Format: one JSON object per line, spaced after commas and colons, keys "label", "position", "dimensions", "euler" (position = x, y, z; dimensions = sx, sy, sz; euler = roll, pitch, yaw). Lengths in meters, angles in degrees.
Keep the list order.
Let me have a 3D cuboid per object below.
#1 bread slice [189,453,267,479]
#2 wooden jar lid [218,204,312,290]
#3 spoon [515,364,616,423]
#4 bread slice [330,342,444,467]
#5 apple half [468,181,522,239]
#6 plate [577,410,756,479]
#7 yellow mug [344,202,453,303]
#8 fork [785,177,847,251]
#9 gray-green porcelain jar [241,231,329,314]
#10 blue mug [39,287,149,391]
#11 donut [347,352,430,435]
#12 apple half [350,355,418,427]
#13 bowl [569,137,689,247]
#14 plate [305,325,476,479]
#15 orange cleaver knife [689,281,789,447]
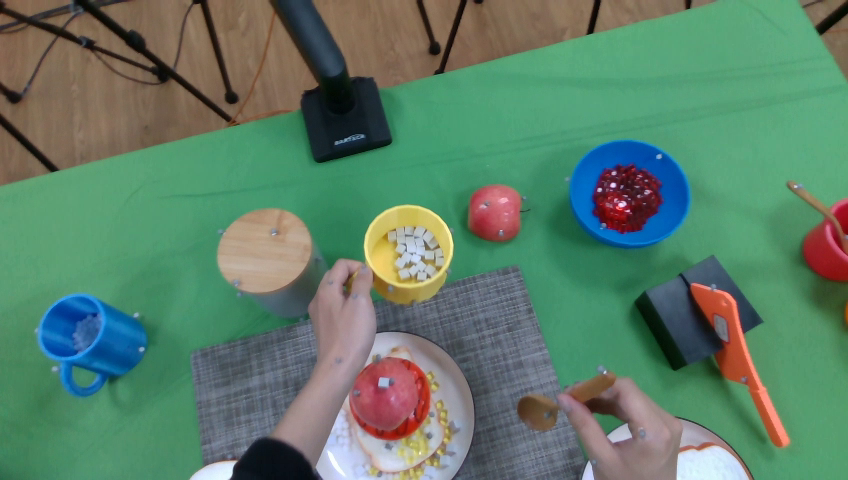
{"label": "bread slice", "position": [-0.236, 0.323, 0.719], "dimensions": [0.105, 0.019, 0.130], "euler": [-7, 71, -1]}
{"label": "wooden jar lid", "position": [-0.184, 0.009, 0.711], "dimensions": [0.108, 0.021, 0.107], "euler": [0, 67, 1]}
{"label": "spoon", "position": [0.123, 0.139, 0.539], "dimensions": [0.021, 0.194, 0.041], "euler": [-41, 80, -21]}
{"label": "bread slice", "position": [-0.037, 0.206, 0.743], "dimensions": [0.107, 0.018, 0.133], "euler": [-31, 71, -8]}
{"label": "apple half", "position": [0.097, -0.047, 0.827], "dimensions": [0.074, 0.054, 0.080], "euler": [6, 70, 8]}
{"label": "plate", "position": [0.276, 0.304, 0.694], "dimensions": [0.209, 0.038, 0.207], "euler": [-1, 69, 3]}
{"label": "yellow mug", "position": [-0.033, 0.023, 0.689], "dimensions": [0.131, 0.064, 0.099], "euler": [-29, 74, -14]}
{"label": "fork", "position": [0.501, -0.026, 0.748], "dimensions": [0.209, 0.018, 0.028], "euler": [29, 66, -30]}
{"label": "gray-green porcelain jar", "position": [-0.180, 0.032, 0.771], "dimensions": [0.106, 0.127, 0.105], "euler": [-1, 69, 3]}
{"label": "blue mug", "position": [-0.413, 0.129, 0.756], "dimensions": [0.082, 0.106, 0.116], "euler": [5, 70, 5]}
{"label": "donut", "position": [-0.041, 0.183, 0.721], "dimensions": [0.099, 0.048, 0.098], "euler": [-1, 70, 3]}
{"label": "apple half", "position": [-0.046, 0.170, 0.687], "dimensions": [0.081, 0.033, 0.080], "euler": [-3, 68, 9]}
{"label": "bowl", "position": [0.264, -0.052, 0.807], "dimensions": [0.151, 0.077, 0.150], "euler": [-1, 70, 3]}
{"label": "plate", "position": [-0.040, 0.209, 0.741], "dimensions": [0.207, 0.039, 0.206], "euler": [-1, 69, 3]}
{"label": "orange cleaver knife", "position": [0.374, 0.145, 0.725], "dimensions": [0.012, 0.077, 0.211], "euler": [-24, 92, -13]}
